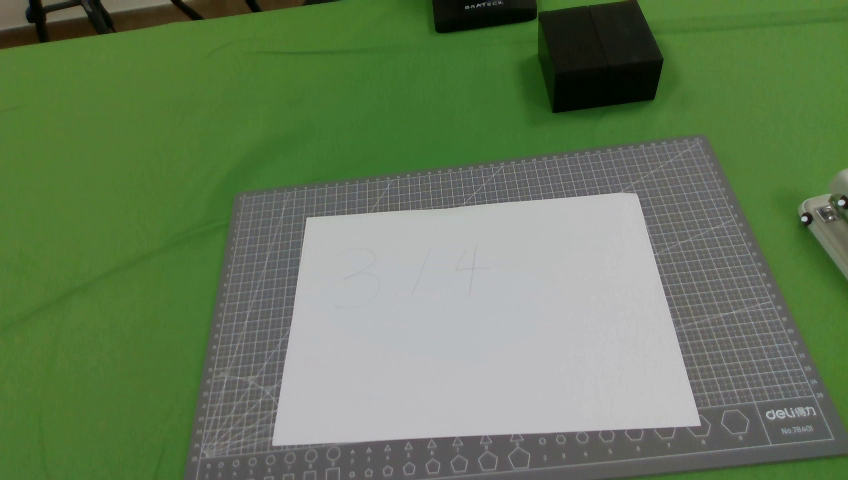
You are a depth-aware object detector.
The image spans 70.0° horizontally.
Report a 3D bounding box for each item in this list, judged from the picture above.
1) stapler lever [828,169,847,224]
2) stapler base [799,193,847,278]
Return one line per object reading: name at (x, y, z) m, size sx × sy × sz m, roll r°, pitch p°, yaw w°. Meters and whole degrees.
stapler lever at (0.338, -0.003, 0.440) m, size 0.027 × 0.040 × 0.117 m, roll -15°, pitch 55°, yaw 1°
stapler base at (0.341, 0.010, 0.462) m, size 0.041 × 0.025 × 0.129 m, roll -15°, pitch 55°, yaw 1°
